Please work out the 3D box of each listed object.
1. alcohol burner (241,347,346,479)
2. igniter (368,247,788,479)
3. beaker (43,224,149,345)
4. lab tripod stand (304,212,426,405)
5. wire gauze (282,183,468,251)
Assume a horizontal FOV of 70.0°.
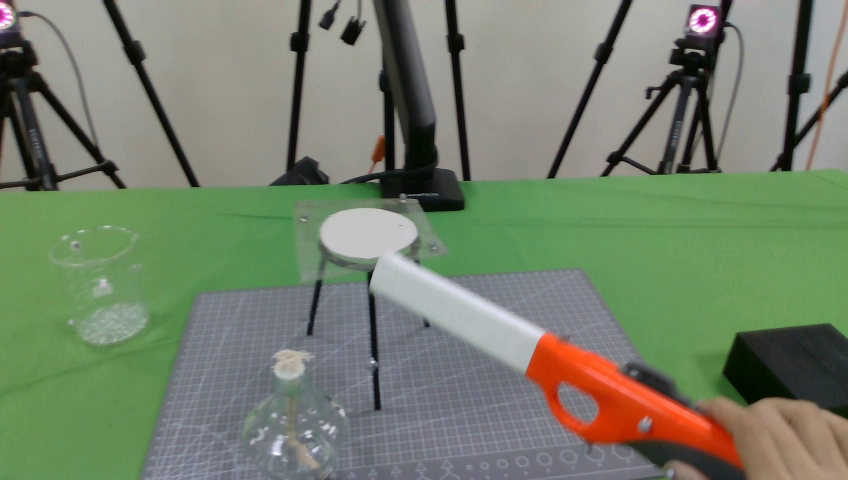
[{"bbox_3d":[-0.098,0.127,0.452,0.078,0.120,0.077,3,30,-1],"label":"alcohol burner"},{"bbox_3d":[0.075,0.075,0.361,0.274,0.057,0.025,28,15,28],"label":"igniter"},{"bbox_3d":[-0.314,0.044,0.597,0.073,0.101,0.084,26,38,33],"label":"beaker"},{"bbox_3d":[-0.051,0.054,0.558,0.148,0.132,0.147,3,32,-2],"label":"lab tripod stand"},{"bbox_3d":[-0.044,-0.020,0.520,0.125,0.011,0.120,-11,28,-33],"label":"wire gauze"}]
